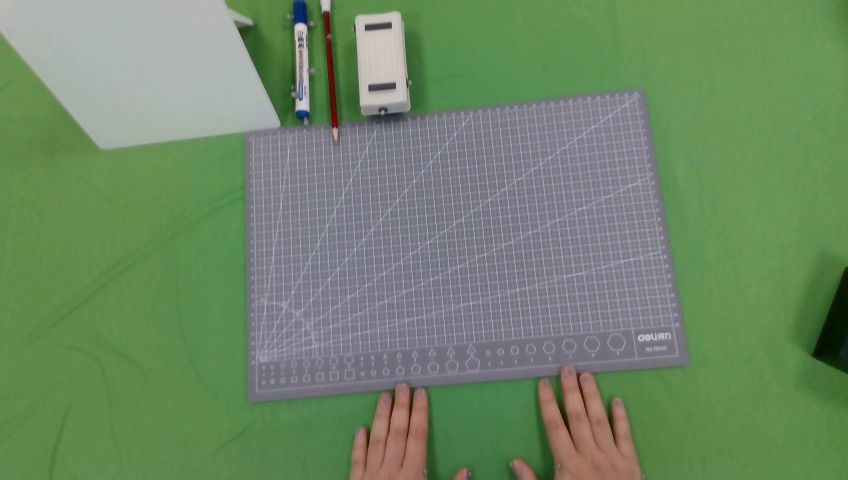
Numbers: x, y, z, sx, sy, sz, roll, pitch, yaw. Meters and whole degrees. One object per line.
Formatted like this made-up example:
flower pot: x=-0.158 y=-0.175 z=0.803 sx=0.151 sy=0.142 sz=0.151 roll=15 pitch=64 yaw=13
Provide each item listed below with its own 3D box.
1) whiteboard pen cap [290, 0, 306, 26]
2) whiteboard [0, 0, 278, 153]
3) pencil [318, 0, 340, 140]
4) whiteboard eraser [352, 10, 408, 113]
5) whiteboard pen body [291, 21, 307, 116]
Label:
whiteboard pen cap: x=-0.148 y=-0.267 z=0.714 sx=0.018 sy=0.018 sz=0.033 roll=-7 pitch=76 yaw=3
whiteboard: x=-0.293 y=-0.253 z=0.609 sx=0.217 sy=0.308 sz=0.142 roll=-6 pitch=58 yaw=4
pencil: x=-0.109 y=-0.205 z=0.702 sx=0.012 sy=0.012 sz=0.193 roll=-9 pitch=77 yaw=3
whiteboard eraser: x=-0.050 y=-0.200 z=0.681 sx=0.055 sy=0.042 sz=0.112 roll=-6 pitch=78 yaw=5
whiteboard pen body: x=-0.146 y=-0.210 z=0.703 sx=0.017 sy=0.017 sz=0.140 roll=-5 pitch=77 yaw=4
